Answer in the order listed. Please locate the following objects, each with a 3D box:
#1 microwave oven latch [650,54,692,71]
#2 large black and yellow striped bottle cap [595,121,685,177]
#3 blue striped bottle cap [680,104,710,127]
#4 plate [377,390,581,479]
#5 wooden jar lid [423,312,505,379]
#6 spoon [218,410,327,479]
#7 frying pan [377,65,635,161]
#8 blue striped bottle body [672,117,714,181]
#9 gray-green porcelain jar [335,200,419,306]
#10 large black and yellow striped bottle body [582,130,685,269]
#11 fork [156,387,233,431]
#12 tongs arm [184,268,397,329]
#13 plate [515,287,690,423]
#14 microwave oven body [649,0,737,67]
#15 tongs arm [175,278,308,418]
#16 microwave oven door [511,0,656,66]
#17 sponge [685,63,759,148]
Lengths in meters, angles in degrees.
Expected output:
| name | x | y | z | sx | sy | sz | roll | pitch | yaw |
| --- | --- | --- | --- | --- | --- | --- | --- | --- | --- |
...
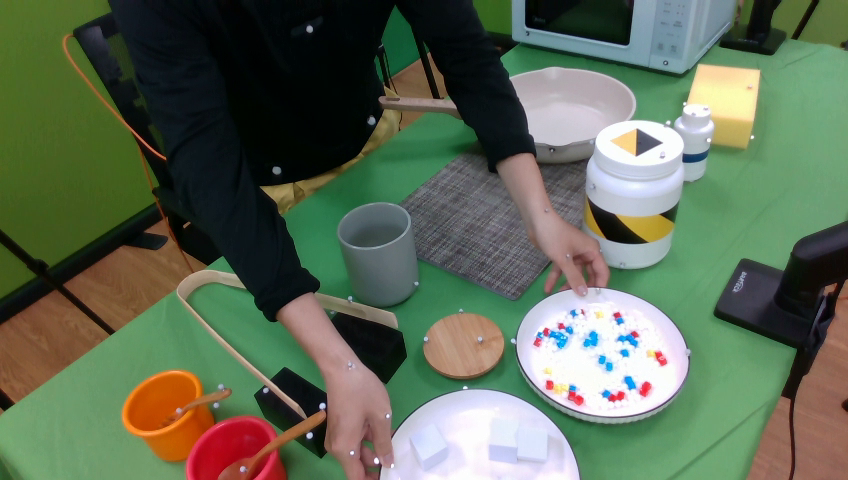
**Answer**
| name | x | y | z | sx | sy | sz | roll | pitch | yaw |
| --- | --- | --- | --- | --- | --- | --- | --- | --- | --- |
| microwave oven latch | 0.531 | -0.386 | 1.301 | 0.078 | 0.029 | 0.030 | 25 | 51 | 33 |
| large black and yellow striped bottle cap | 0.292 | -0.126 | 0.821 | 0.115 | 0.019 | 0.114 | -5 | 40 | 4 |
| blue striped bottle cap | 0.443 | -0.205 | 0.989 | 0.044 | 0.021 | 0.044 | -1 | 41 | 1 |
| plate | 0.056 | 0.255 | 0.628 | 0.208 | 0.039 | 0.206 | -2 | 43 | 2 |
| wooden jar lid | 0.053 | 0.142 | 0.800 | 0.108 | 0.021 | 0.108 | -4 | 39 | 4 |
| spoon | -0.164 | 0.225 | 0.640 | 0.193 | 0.022 | 0.041 | -42 | 29 | 31 |
| frying pan | 0.150 | -0.256 | 1.177 | 0.488 | 0.103 | 0.306 | 7 | 41 | 3 |
| blue striped bottle body | 0.449 | -0.165 | 1.022 | 0.063 | 0.121 | 0.063 | -5 | 41 | 4 |
| gray-green porcelain jar | -0.064 | 0.023 | 0.872 | 0.106 | 0.127 | 0.105 | -4 | 41 | 4 |
| large black and yellow striped bottle body | 0.301 | -0.064 | 0.877 | 0.131 | 0.185 | 0.130 | -4 | 41 | 4 |
| fork | -0.263 | 0.192 | 0.688 | 0.018 | 0.206 | 0.028 | 51 | 44 | -5 |
| tongs arm | -0.203 | 0.084 | 0.847 | 0.382 | 0.027 | 0.051 | 11 | 44 | 34 |
| plate | 0.221 | 0.144 | 0.760 | 0.209 | 0.038 | 0.208 | -4 | 40 | 4 |
| microwave oven body | 0.475 | -0.602 | 1.411 | 0.438 | 0.261 | 0.327 | 23 | 50 | 32 |
| tongs arm | -0.255 | 0.132 | 0.801 | 0.028 | 0.028 | 0.384 | -41 | 40 | -23 |
| microwave oven door | 0.350 | -0.539 | 1.348 | 0.353 | 0.245 | 0.039 | 24 | 50 | 31 |
| sponge | 0.569 | -0.263 | 1.164 | 0.117 | 0.061 | 0.207 | 12 | 45 | 22 |
